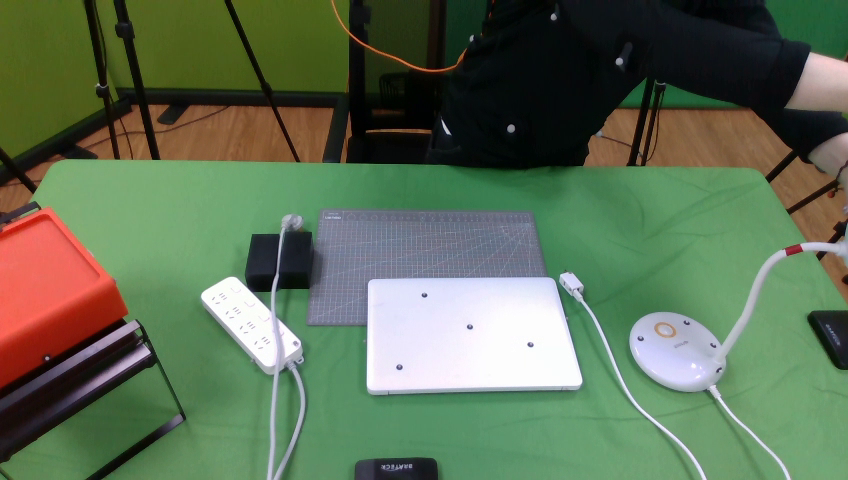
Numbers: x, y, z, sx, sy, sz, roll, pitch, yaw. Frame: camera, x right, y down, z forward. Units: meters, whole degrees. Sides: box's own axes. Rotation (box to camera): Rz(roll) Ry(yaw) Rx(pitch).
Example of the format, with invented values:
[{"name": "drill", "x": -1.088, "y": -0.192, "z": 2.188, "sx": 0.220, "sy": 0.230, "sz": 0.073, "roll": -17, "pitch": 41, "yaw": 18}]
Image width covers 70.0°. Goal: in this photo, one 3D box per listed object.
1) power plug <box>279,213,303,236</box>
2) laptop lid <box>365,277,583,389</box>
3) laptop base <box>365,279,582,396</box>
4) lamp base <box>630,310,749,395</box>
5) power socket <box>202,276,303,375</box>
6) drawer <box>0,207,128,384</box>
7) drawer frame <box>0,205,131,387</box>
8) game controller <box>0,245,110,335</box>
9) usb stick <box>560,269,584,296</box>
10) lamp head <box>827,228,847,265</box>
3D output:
[{"name": "power plug", "x": -0.264, "y": -0.021, "z": 1.184, "sx": 0.035, "sy": 0.053, "sz": 0.072, "roll": 2, "pitch": 48, "yaw": 32}, {"name": "laptop lid", "x": 0.078, "y": 0.152, "z": 1.046, "sx": 0.357, "sy": 0.013, "sz": 0.240, "roll": 1, "pitch": 45, "yaw": -3}, {"name": "laptop base", "x": 0.077, "y": 0.162, "z": 1.053, "sx": 0.355, "sy": 0.023, "sz": 0.234, "roll": 0, "pitch": 44, "yaw": -4}, {"name": "lamp base", "x": 0.447, "y": 0.143, "z": 0.984, "sx": 0.161, "sy": 0.181, "sz": 0.178, "roll": -24, "pitch": 55, "yaw": -24}, {"name": "power socket", "x": -0.296, "y": 0.142, "z": 1.033, "sx": 0.072, "sy": 0.033, "sz": 0.225, "roll": -34, "pitch": 58, "yaw": -31}, {"name": "drawer", "x": -0.540, "y": 0.074, "z": 0.799, "sx": 0.193, "sy": 0.073, "sz": 0.211, "roll": 37, "pitch": 55, "yaw": 27}, {"name": "drawer frame", "x": -0.539, "y": 0.076, "z": 0.795, "sx": 0.200, "sy": 0.083, "sz": 0.213, "roll": 36, "pitch": 54, "yaw": 26}, {"name": "game controller", "x": -0.511, "y": 0.062, "z": 0.830, "sx": 0.097, "sy": 0.052, "sz": 0.154, "roll": -30, "pitch": 58, "yaw": -31}, {"name": "usb stick", "x": 0.275, "y": 0.077, "z": 1.142, "sx": 0.027, "sy": 0.021, "sz": 0.059, "roll": -12, "pitch": 39, "yaw": -13}, {"name": "lamp head", "x": 0.577, "y": -0.002, "z": 0.752, "sx": 0.112, "sy": 0.123, "sz": 0.111, "roll": 1, "pitch": 47, "yaw": -1}]
